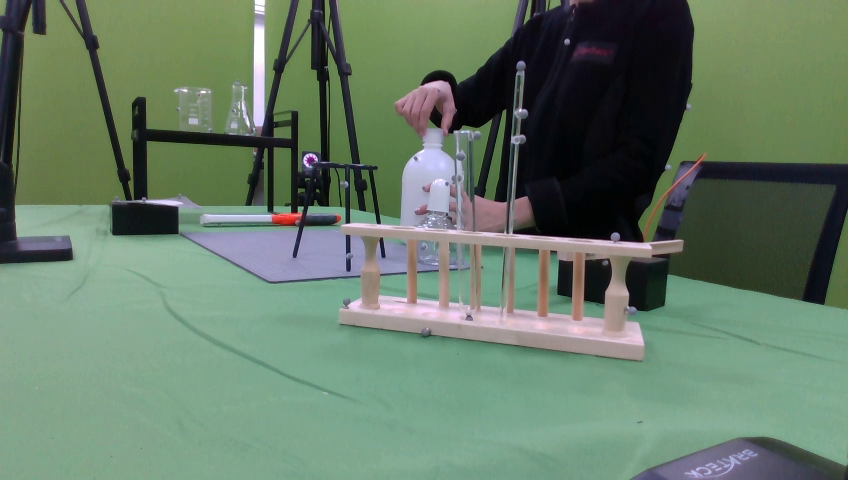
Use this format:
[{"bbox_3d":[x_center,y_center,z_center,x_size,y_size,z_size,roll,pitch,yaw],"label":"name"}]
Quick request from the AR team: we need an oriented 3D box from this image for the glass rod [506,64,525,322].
[{"bbox_3d":[0.069,-0.030,0.458,0.008,0.199,0.008,0,15,0],"label":"glass rod"}]

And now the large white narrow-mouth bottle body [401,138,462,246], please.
[{"bbox_3d":[0.014,-0.092,1.030,0.102,0.194,0.102,2,8,0],"label":"large white narrow-mouth bottle body"}]

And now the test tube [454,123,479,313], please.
[{"bbox_3d":[0.034,-0.016,0.477,0.017,0.150,0.017,-2,9,1],"label":"test tube"}]

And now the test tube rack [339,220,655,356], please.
[{"bbox_3d":[0.056,0.032,0.495,0.242,0.085,0.067,4,7,15],"label":"test tube rack"}]

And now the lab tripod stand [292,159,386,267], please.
[{"bbox_3d":[-0.105,-0.039,0.798,0.148,0.131,0.148,2,5,0],"label":"lab tripod stand"}]

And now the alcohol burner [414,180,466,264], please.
[{"bbox_3d":[0.021,-0.028,0.826,0.078,0.119,0.078,0,6,0],"label":"alcohol burner"}]

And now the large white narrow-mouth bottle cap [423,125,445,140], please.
[{"bbox_3d":[0.016,-0.180,1.016,0.038,0.024,0.037,2,8,0],"label":"large white narrow-mouth bottle cap"}]

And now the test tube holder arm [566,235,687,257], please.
[{"bbox_3d":[0.215,0.006,0.630,0.179,0.015,0.013,-3,9,-31],"label":"test tube holder arm"}]

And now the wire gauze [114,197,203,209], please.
[{"bbox_3d":[-0.447,-0.062,1.015,0.126,0.011,0.121,-2,8,-31],"label":"wire gauze"}]

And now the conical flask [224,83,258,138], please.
[{"bbox_3d":[-0.422,-0.299,1.395,0.075,0.122,0.075,2,7,0],"label":"conical flask"}]

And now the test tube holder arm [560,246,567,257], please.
[{"bbox_3d":[0.173,0.007,0.611,0.088,0.015,0.010,-3,9,-30],"label":"test tube holder arm"}]

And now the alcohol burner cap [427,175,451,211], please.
[{"bbox_3d":[0.023,-0.064,0.822,0.034,0.048,0.034,7,5,0],"label":"alcohol burner cap"}]

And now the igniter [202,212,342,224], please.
[{"bbox_3d":[-0.298,-0.044,1.216,0.278,0.025,0.057,-2,-2,-33],"label":"igniter"}]

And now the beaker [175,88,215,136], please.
[{"bbox_3d":[-0.511,-0.285,1.353,0.084,0.100,0.073,-2,8,-25],"label":"beaker"}]
